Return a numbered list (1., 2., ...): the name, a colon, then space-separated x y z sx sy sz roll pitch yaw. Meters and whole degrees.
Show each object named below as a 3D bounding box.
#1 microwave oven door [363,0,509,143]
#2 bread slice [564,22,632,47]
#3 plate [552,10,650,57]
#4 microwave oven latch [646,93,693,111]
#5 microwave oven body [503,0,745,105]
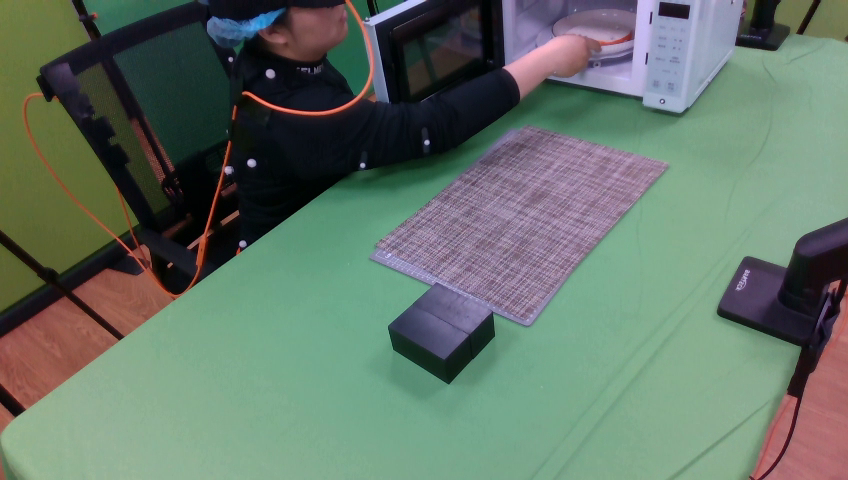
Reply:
1. microwave oven door: 0.040 -0.386 1.238 0.357 0.245 0.039 -37 47 -28
2. bread slice: 0.393 -0.453 1.343 0.105 0.019 0.130 -36 43 -26
3. plate: 0.390 -0.454 1.340 0.209 0.038 0.208 -5 39 5
4. microwave oven latch: 0.477 -0.273 1.177 0.078 0.029 0.030 22 50 33
5. microwave oven body: 0.416 -0.486 1.290 0.438 0.261 0.327 21 50 33
